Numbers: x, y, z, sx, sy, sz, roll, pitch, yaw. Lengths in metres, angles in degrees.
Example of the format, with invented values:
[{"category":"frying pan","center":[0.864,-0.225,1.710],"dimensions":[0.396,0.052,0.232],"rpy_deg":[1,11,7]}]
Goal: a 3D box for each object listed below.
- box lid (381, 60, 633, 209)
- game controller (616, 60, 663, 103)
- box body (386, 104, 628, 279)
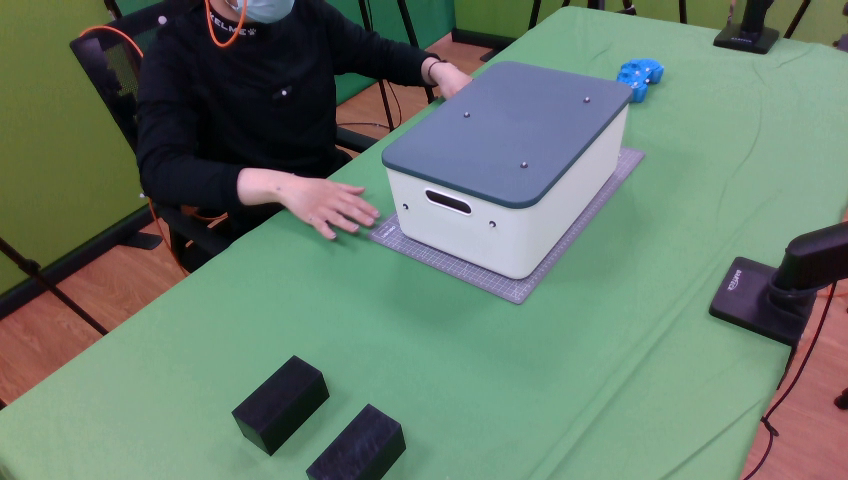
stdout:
[{"category":"box lid","center":[0.137,-0.182,0.935],"dimensions":[0.261,0.015,0.372],"rpy_deg":[22,48,29]},{"category":"game controller","center":[0.442,-0.345,1.288],"dimensions":[0.096,0.052,0.155],"rpy_deg":[25,50,27]},{"category":"box body","center":[0.142,-0.125,0.982],"dimensions":[0.252,0.161,0.365],"rpy_deg":[22,48,29]}]
